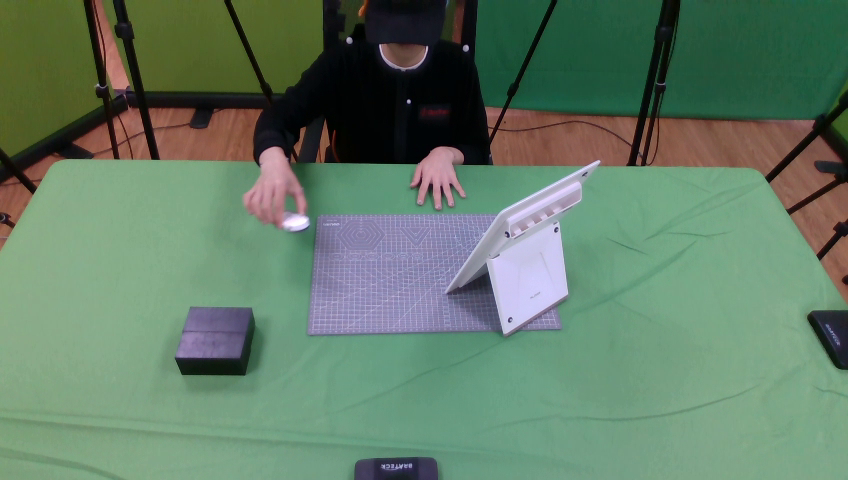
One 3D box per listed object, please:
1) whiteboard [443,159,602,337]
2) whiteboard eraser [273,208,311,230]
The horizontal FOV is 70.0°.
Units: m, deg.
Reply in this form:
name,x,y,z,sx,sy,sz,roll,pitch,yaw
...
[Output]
name,x,y,z,sx,sy,sz,roll,pitch,yaw
whiteboard,0.193,0.036,1.018,0.217,0.306,0.143,-26,72,-26
whiteboard eraser,-0.239,-0.039,1.094,0.041,0.019,0.101,-21,25,-31
